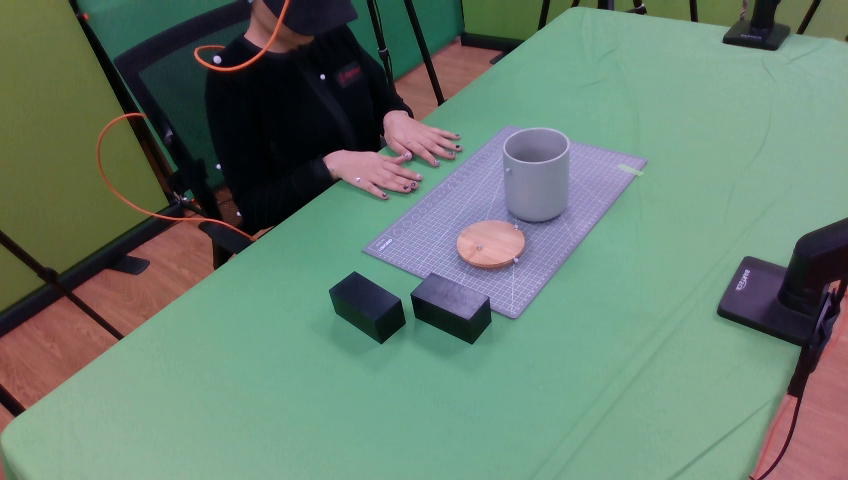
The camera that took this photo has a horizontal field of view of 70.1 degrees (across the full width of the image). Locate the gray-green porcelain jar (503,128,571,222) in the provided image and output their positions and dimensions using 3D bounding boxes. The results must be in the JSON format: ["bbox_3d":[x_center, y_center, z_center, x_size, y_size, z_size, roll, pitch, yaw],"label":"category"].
[{"bbox_3d":[0.184,-0.102,0.983,0.106,0.127,0.105,-5,40,5],"label":"gray-green porcelain jar"}]

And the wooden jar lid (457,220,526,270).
[{"bbox_3d":[0.106,0.009,0.950,0.108,0.021,0.108,-4,40,4],"label":"wooden jar lid"}]
